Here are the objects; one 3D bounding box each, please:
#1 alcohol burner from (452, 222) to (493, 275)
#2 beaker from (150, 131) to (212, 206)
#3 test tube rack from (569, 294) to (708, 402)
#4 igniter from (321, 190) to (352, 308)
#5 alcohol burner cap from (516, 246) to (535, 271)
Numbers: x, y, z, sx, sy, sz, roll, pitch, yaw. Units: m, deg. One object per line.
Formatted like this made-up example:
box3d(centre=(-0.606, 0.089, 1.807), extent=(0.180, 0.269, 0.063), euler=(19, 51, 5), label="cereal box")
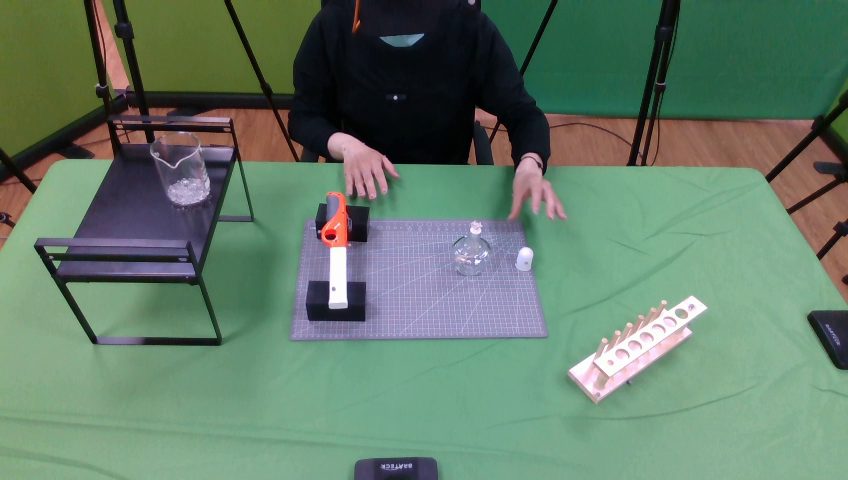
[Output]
box3d(centre=(0.091, 0.009, 1.124), extent=(0.078, 0.119, 0.077), euler=(2, 48, -2), label="alcohol burner")
box3d(centre=(-0.385, -0.110, 0.969), extent=(0.074, 0.101, 0.083), euler=(-6, 48, -9), label="beaker")
box3d(centre=(0.360, 0.167, 1.015), extent=(0.242, 0.085, 0.066), euler=(-25, 53, -25), label="test tube rack")
box3d(centre=(-0.159, 0.008, 1.101), extent=(0.057, 0.025, 0.274), euler=(-2, 48, -7), label="igniter")
box3d(centre=(0.195, 0.032, 1.158), extent=(0.034, 0.048, 0.033), euler=(2, 45, -2), label="alcohol burner cap")
